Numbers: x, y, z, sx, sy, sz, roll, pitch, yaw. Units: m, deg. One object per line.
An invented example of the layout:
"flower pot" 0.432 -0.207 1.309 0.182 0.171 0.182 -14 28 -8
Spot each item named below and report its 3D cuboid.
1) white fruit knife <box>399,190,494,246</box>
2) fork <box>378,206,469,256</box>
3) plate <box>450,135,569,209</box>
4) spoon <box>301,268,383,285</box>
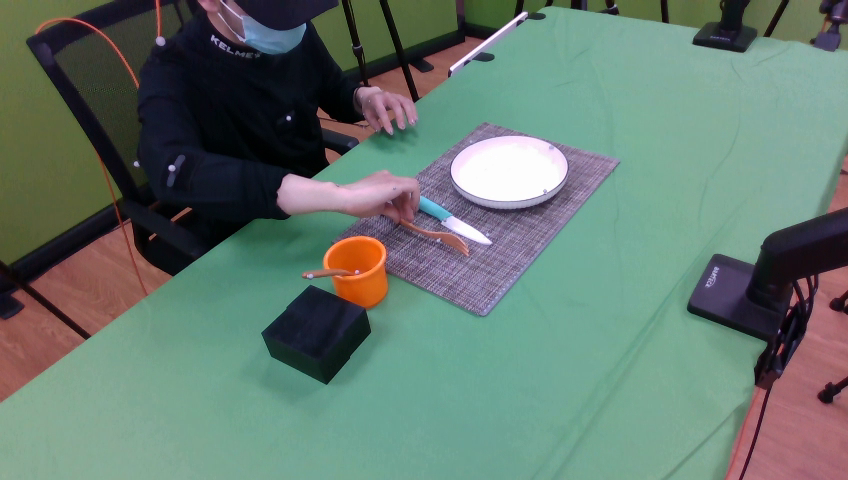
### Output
"white fruit knife" 0.036 -0.037 1.009 0.205 0.016 0.027 32 84 34
"fork" -0.004 -0.019 0.985 0.205 0.028 0.019 23 51 34
"plate" 0.149 -0.117 1.066 0.209 0.038 0.208 -3 41 3
"spoon" -0.112 0.048 0.831 0.041 0.195 0.021 18 90 24
